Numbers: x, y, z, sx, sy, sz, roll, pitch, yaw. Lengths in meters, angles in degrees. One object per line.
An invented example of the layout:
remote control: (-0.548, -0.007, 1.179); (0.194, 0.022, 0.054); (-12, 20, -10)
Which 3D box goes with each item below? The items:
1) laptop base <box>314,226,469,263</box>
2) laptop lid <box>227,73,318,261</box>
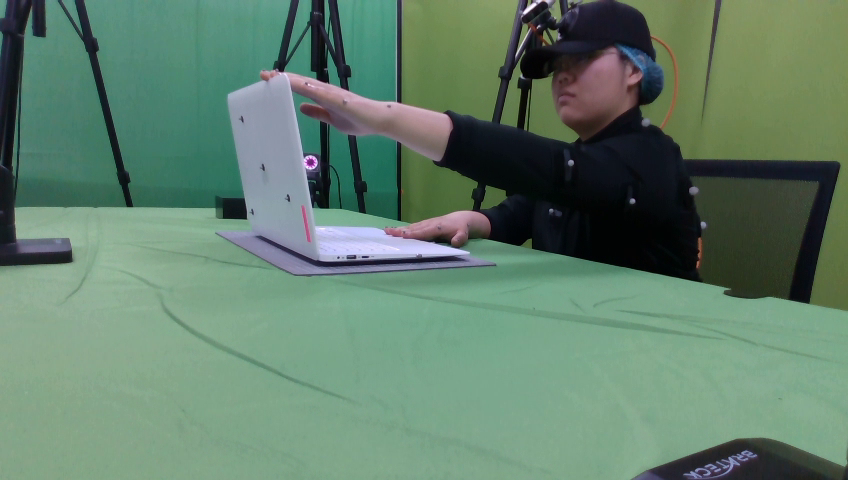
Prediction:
laptop base: (-0.117, 0.005, 0.971); (0.237, 0.023, 0.352); (3, 6, -30)
laptop lid: (-0.233, -0.108, 0.886); (0.013, 0.241, 0.355); (-13, 15, -27)
